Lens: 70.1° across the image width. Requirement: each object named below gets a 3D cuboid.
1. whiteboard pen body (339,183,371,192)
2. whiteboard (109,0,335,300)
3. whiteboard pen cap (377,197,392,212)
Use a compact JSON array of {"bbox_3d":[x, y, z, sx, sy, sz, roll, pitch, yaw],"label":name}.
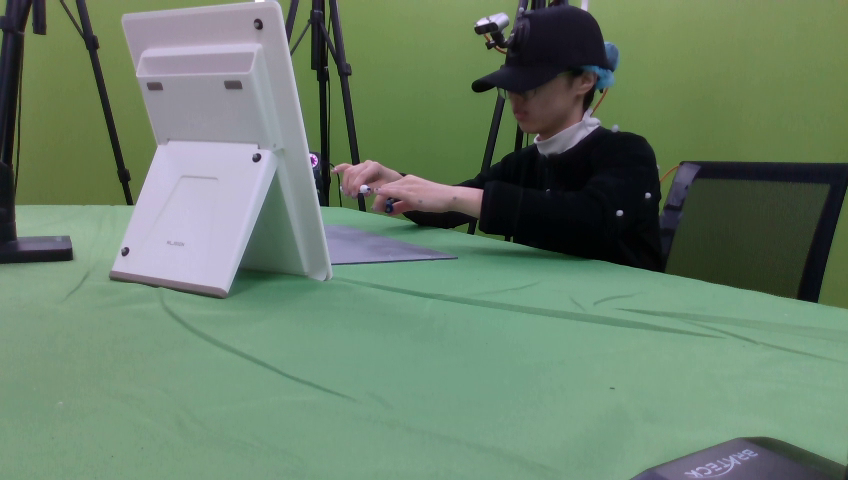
[{"bbox_3d":[-0.128,-0.098,1.125,0.017,0.017,0.140,-2,6,-28],"label":"whiteboard pen body"},{"bbox_3d":[-0.247,-0.072,0.624,0.216,0.305,0.144,6,28,26],"label":"whiteboard"},{"bbox_3d":[-0.066,-0.060,1.011,0.018,0.018,0.033,-2,27,-26],"label":"whiteboard pen cap"}]
